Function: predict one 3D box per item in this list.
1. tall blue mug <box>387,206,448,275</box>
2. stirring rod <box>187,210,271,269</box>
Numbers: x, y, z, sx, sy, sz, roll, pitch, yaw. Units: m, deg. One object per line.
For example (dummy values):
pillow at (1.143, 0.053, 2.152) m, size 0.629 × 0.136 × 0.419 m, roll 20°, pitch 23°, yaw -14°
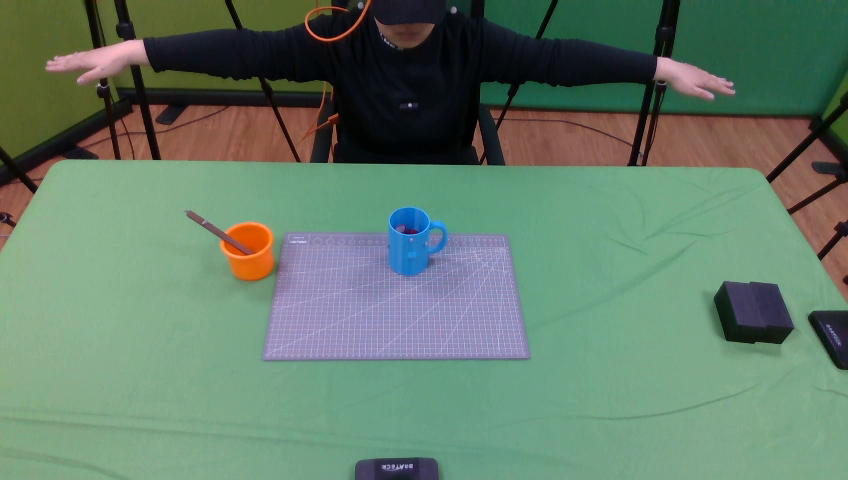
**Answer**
tall blue mug at (-0.018, -0.004, 1.138) m, size 0.107 × 0.108 × 0.077 m, roll -30°, pitch 54°, yaw -29°
stirring rod at (-0.349, 0.001, 1.092) m, size 0.177 × 0.006 × 0.014 m, roll 39°, pitch 35°, yaw -27°
